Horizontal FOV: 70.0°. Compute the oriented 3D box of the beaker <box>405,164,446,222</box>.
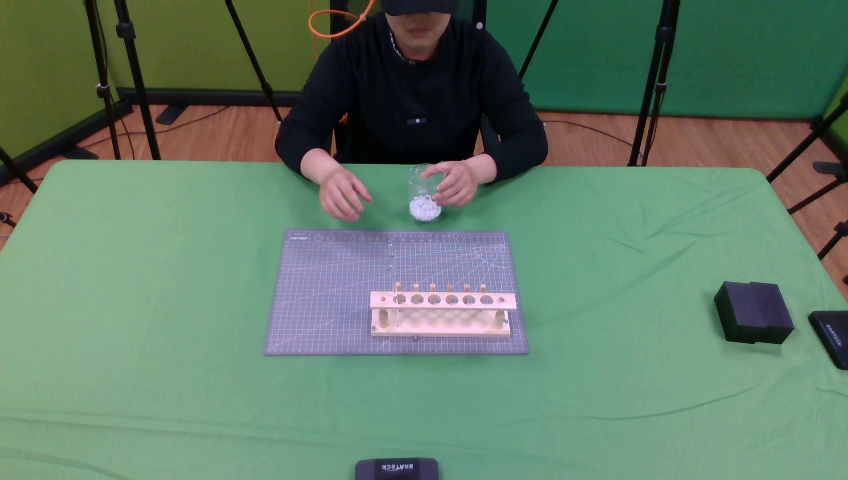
[{"bbox_3d":[0.004,-0.093,1.217,0.084,0.101,0.073,-17,50,-16],"label":"beaker"}]

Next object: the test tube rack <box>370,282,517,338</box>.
[{"bbox_3d":[0.030,0.116,1.041,0.242,0.085,0.066,1,46,-3],"label":"test tube rack"}]

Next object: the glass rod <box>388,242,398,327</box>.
[{"bbox_3d":[-0.051,0.076,0.981,0.008,0.201,0.008,0,44,1],"label":"glass rod"}]
